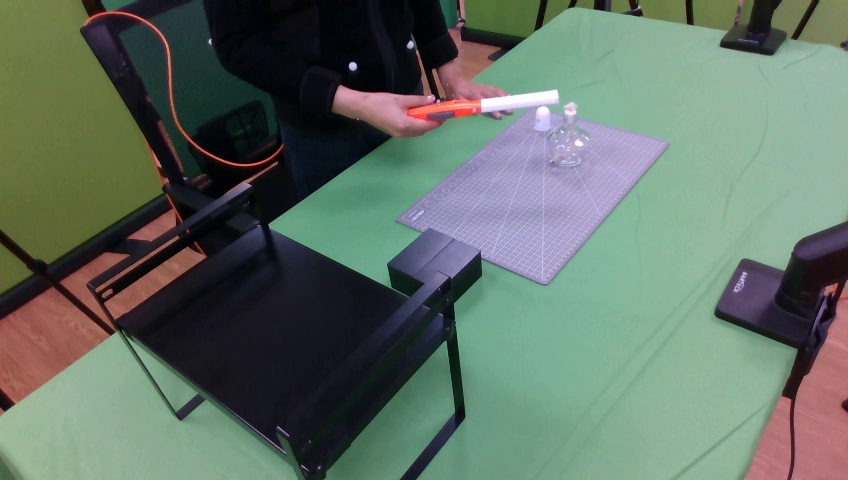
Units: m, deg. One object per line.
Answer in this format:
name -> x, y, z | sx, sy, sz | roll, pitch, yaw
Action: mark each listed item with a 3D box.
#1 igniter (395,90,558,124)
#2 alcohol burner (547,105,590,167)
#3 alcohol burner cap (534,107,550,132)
igniter -> 0.086, -0.225, 1.023 | 0.276, 0.025, 0.057 | -5, 33, 8
alcohol burner -> 0.260, -0.192, 1.087 | 0.078, 0.119, 0.077 | -5, 43, 5
alcohol burner cap -> 0.236, -0.243, 1.206 | 0.034, 0.048, 0.033 | -4, 39, 3
